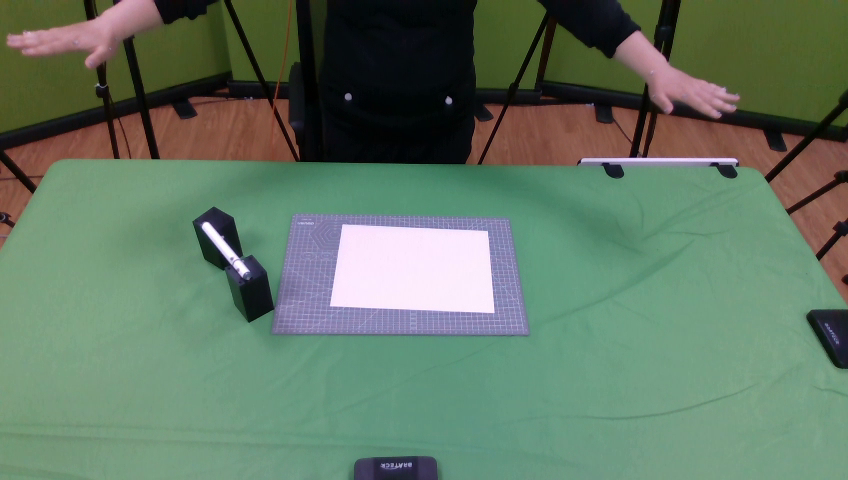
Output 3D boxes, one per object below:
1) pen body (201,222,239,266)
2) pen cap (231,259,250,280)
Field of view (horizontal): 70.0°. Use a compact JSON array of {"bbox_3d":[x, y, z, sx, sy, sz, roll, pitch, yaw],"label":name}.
[{"bbox_3d":[-0.338,0.014,1.023,0.017,0.017,0.143,-29,53,-28],"label":"pen body"},{"bbox_3d":[-0.299,0.049,0.991,0.017,0.017,0.038,-29,55,-28],"label":"pen cap"}]
